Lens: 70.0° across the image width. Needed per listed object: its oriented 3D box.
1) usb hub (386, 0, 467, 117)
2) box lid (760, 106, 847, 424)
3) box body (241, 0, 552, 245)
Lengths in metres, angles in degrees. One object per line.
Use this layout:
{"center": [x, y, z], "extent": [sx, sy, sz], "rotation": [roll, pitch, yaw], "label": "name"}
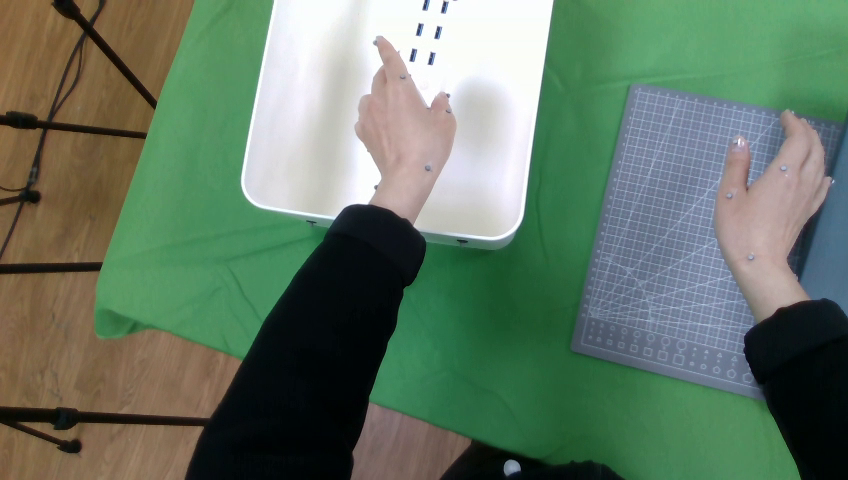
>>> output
{"center": [0.003, -0.181, 0.573], "extent": [0.049, 0.025, 0.125], "rotation": [12, 85, 13], "label": "usb hub"}
{"center": [0.496, 0.017, 0.563], "extent": [0.262, 0.015, 0.372], "rotation": [14, 99, 9], "label": "box lid"}
{"center": [-0.007, -0.185, 0.614], "extent": [0.254, 0.161, 0.363], "rotation": [8, 85, 8], "label": "box body"}
